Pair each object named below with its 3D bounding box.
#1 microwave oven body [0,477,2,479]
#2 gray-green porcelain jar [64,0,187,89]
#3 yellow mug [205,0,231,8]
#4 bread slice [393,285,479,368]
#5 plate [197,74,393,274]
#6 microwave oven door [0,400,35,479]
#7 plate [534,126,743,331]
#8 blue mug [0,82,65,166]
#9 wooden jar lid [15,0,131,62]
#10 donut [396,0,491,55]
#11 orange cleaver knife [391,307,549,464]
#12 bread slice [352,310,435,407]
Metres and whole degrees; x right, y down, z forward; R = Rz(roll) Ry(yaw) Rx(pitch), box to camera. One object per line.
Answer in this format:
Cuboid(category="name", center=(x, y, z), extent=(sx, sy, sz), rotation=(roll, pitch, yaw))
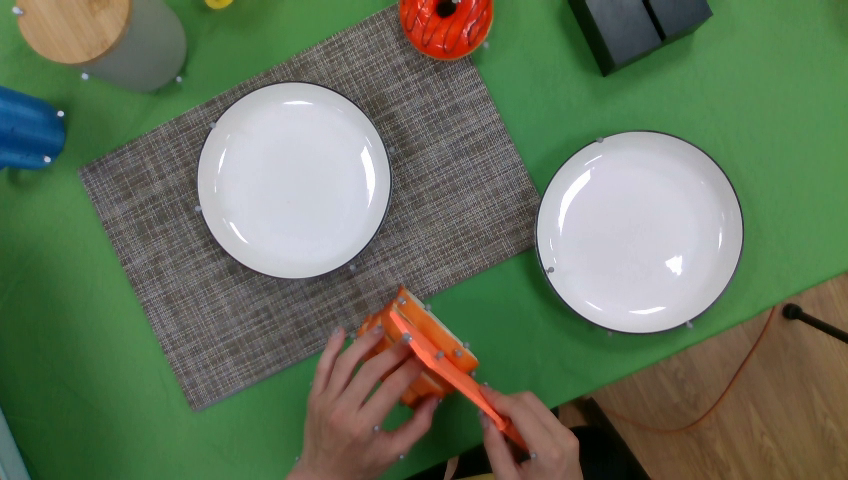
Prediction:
Cuboid(category="microwave oven body", center=(-0.636, 0.231, 0.576), extent=(0.326, 0.260, 0.441), rotation=(-23, 90, 3))
Cuboid(category="gray-green porcelain jar", center=(-0.312, -0.215, 0.615), extent=(0.106, 0.126, 0.106), rotation=(0, 91, 4))
Cuboid(category="yellow mug", center=(-0.193, -0.303, 0.635), extent=(0.100, 0.064, 0.131), rotation=(32, 94, 3))
Cuboid(category="bread slice", center=(0.012, 0.087, 0.598), extent=(0.107, 0.134, 0.018), rotation=(42, 85, -3))
Cuboid(category="plate", center=(-0.135, -0.068, 0.648), extent=(0.207, 0.039, 0.207), rotation=(0, 92, 4))
Cuboid(category="microwave oven door", center=(-0.485, 0.214, 0.561), extent=(0.039, 0.244, 0.355), rotation=(-23, 89, 4))
Cuboid(category="plate", center=(0.217, -0.012, 0.630), extent=(0.209, 0.038, 0.209), rotation=(0, 92, 4))
Cuboid(category="blue mug", center=(-0.460, -0.112, 0.637), extent=(0.082, 0.106, 0.116), rotation=(38, 94, 3))
Cuboid(category="wooden jar lid", center=(-0.317, -0.215, 0.553), extent=(0.108, 0.021, 0.108), rotation=(0, 90, 5))
Cuboid(category="donut", center=(0.021, -0.242, 0.630), extent=(0.099, 0.048, 0.099), rotation=(0, 92, 3))
Cuboid(category="orange cleaver knife", center=(0.044, 0.131, 0.536), extent=(0.012, 0.076, 0.213), rotation=(-42, 120, 3))
Cuboid(category="bread slice", center=(-0.031, 0.118, 0.603), extent=(0.019, 0.131, 0.105), rotation=(-45, 90, 1))
